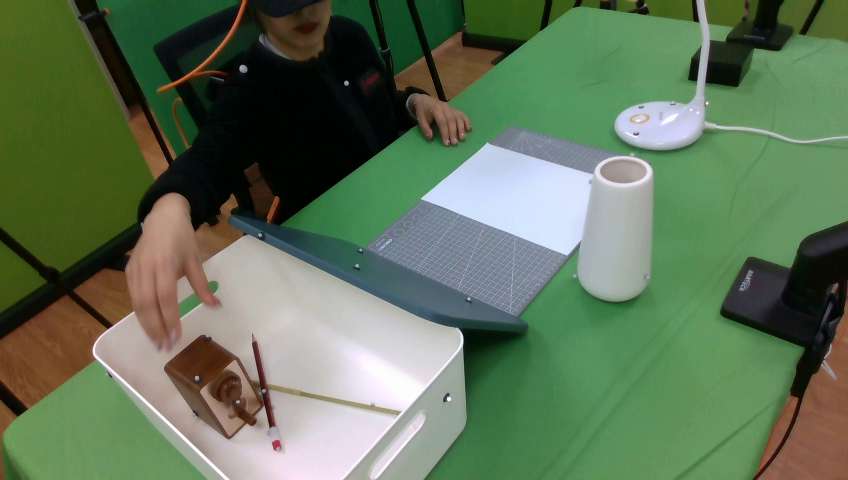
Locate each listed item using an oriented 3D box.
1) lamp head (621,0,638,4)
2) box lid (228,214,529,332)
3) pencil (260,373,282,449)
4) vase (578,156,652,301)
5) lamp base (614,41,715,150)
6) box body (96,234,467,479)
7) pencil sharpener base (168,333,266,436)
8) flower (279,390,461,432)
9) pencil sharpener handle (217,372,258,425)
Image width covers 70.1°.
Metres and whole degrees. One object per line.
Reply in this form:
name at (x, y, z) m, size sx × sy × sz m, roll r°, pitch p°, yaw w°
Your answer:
lamp head at (0.319, -0.453, 0.962) m, size 0.113 × 0.123 × 0.112 m, roll 20°, pitch 33°, yaw -13°
box lid at (-0.060, 0.045, 0.812) m, size 0.368 × 0.265 × 0.015 m, roll 22°, pitch 93°, yaw 32°
pencil at (-0.210, 0.201, 0.799) m, size 0.012 × 0.012 × 0.192 m, roll -20°, pitch 36°, yaw -13°
vase at (0.261, -0.011, 0.812) m, size 0.098 × 0.201 × 0.097 m, roll -5°, pitch 40°, yaw 4°
lamp base at (0.449, -0.277, 1.106) m, size 0.179 × 0.181 × 0.160 m, roll 1°, pitch 41°, yaw 9°
box body at (-0.155, 0.169, 0.707) m, size 0.361 × 0.161 × 0.255 m, roll 23°, pitch 49°, yaw 33°
pencil sharpener base at (-0.251, 0.180, 0.745) m, size 0.076 × 0.107 × 0.061 m, roll 22°, pitch 51°, yaw 32°
flower at (-0.122, 0.203, 0.771) m, size 0.360 × 0.038 × 0.044 m, roll 2°, pitch 77°, yaw 22°
pencil sharpener handle at (-0.214, 0.187, 0.709) m, size 0.030 × 0.068 × 0.036 m, roll 22°, pitch 44°, yaw 32°
